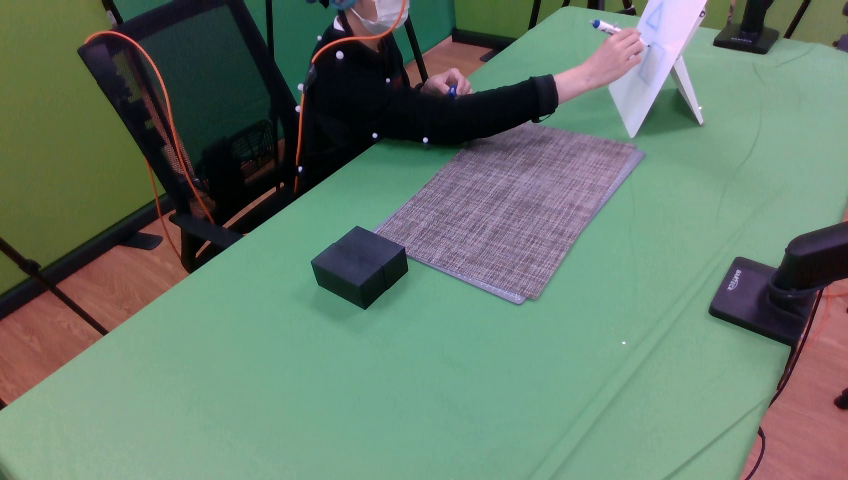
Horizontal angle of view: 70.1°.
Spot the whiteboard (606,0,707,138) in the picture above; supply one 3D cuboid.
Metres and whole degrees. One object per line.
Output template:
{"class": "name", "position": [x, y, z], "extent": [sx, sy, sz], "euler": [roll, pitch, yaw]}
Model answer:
{"class": "whiteboard", "position": [0.496, -0.358, 1.147], "extent": [0.144, 0.305, 0.216], "euler": [11, 40, -7]}

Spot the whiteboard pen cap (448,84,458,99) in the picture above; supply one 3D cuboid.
{"class": "whiteboard pen cap", "position": [0.060, -0.310, 1.262], "extent": [0.018, 0.018, 0.033], "euler": [5, 48, 14]}

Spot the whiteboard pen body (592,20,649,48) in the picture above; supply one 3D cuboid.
{"class": "whiteboard pen body", "position": [0.367, -0.378, 1.118], "extent": [0.142, 0.017, 0.017], "euler": [9, 33, -28]}
